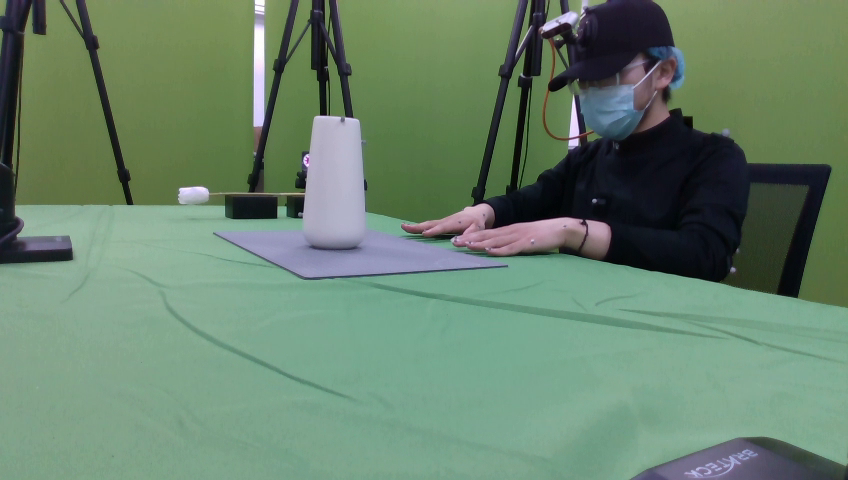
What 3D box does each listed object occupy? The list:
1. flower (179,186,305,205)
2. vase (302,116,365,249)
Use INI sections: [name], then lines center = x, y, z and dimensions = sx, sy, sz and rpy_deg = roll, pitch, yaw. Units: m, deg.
[flower]
center = -0.361, -0.110, 1.365
dimensions = 0.364, 0.038, 0.044
rpy_deg = -7, -6, -33
[vase]
center = -0.139, -0.088, 0.930
dimensions = 0.098, 0.200, 0.098
rpy_deg = 1, 9, 0
